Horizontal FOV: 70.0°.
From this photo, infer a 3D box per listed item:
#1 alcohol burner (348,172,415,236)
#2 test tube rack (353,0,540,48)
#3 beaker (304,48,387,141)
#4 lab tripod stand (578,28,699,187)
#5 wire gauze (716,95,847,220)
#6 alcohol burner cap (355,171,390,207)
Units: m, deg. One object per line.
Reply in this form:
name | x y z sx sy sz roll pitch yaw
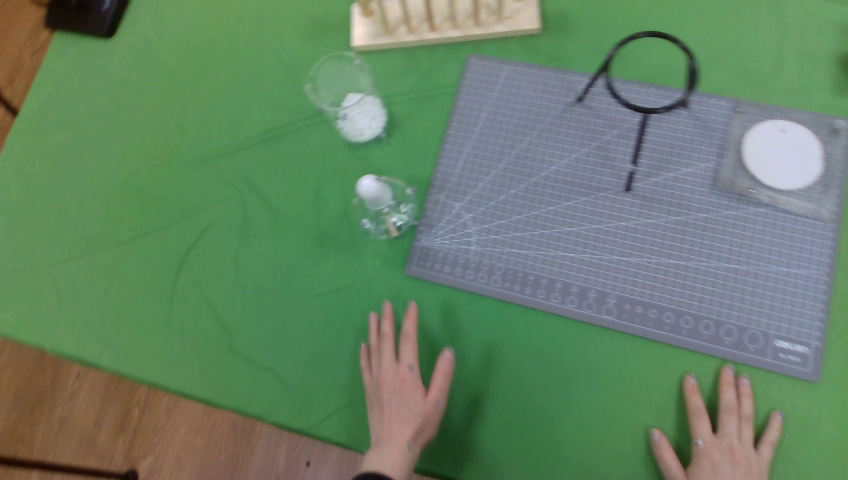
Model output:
alcohol burner | -0.051 -0.046 0.682 0.078 0.120 0.077 -2 73 7
test tube rack | 0.022 -0.302 0.754 0.242 0.086 0.066 -3 74 8
beaker | -0.090 -0.170 0.728 0.084 0.101 0.073 0 74 9
lab tripod stand | 0.233 -0.147 0.652 0.148 0.132 0.147 -2 76 7
wire gauze | 0.400 -0.097 0.678 0.125 0.011 0.121 19 78 10
alcohol burner cap | -0.058 -0.057 0.648 0.034 0.048 0.033 -2 78 9
